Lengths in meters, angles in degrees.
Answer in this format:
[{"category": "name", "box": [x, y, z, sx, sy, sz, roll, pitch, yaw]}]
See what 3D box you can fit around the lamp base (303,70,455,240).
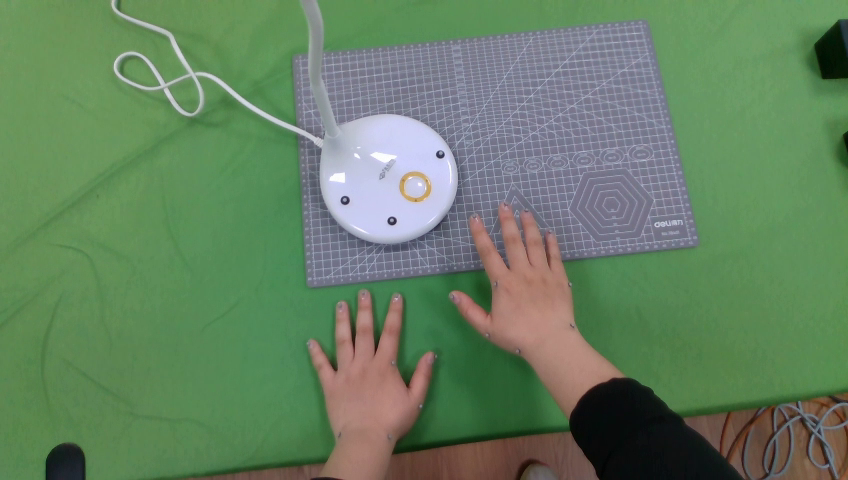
[{"category": "lamp base", "box": [-0.058, -0.102, 0.631, 0.179, 0.181, 0.160, 20, 76, 9]}]
